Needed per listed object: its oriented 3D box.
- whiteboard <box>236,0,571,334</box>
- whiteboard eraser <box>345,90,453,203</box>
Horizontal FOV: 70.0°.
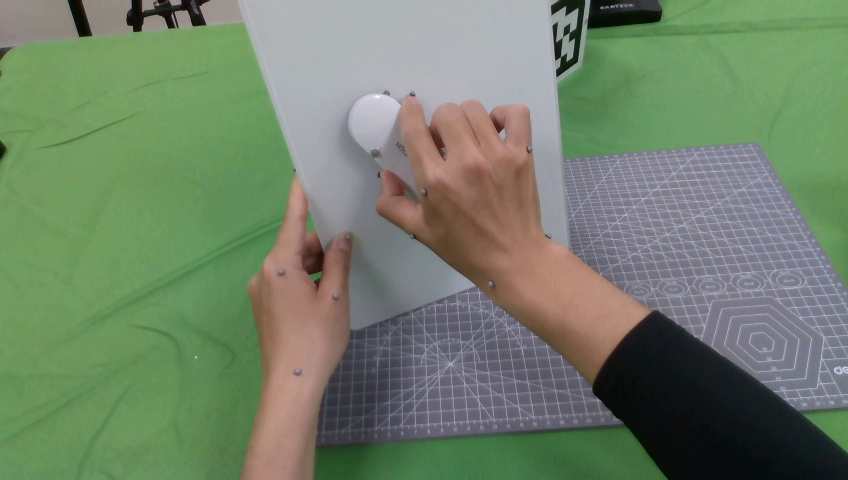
[{"bbox_3d":[-0.015,-0.113,0.518,0.217,0.308,0.142,-19,31,-10],"label":"whiteboard"},{"bbox_3d":[-0.017,-0.068,0.449,0.041,0.102,0.018,-47,30,-4],"label":"whiteboard eraser"}]
